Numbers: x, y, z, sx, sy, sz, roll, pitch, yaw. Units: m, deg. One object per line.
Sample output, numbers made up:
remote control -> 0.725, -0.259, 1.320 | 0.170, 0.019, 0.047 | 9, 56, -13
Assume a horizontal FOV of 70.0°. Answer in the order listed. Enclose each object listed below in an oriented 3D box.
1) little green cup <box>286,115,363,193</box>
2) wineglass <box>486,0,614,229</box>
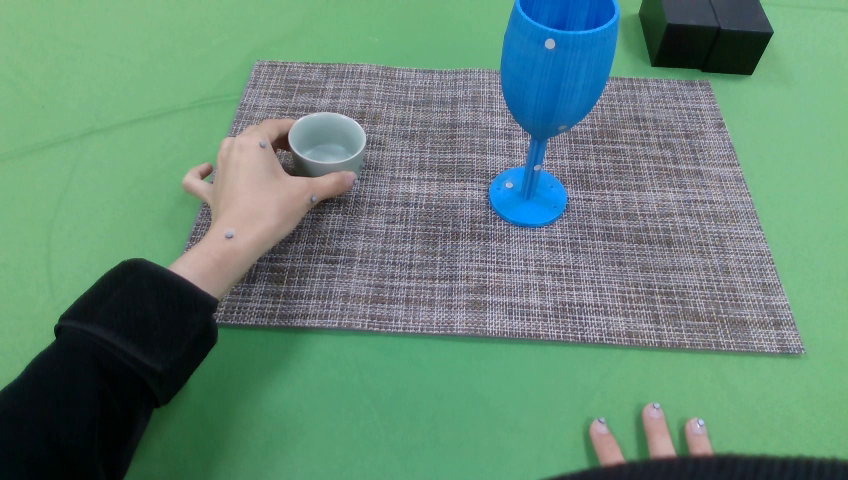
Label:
little green cup -> -0.081, -0.069, 0.497 | 0.061, 0.039, 0.061 | 3, 48, -3
wineglass -> 0.083, -0.087, 0.432 | 0.074, 0.174, 0.073 | 0, 52, 0
